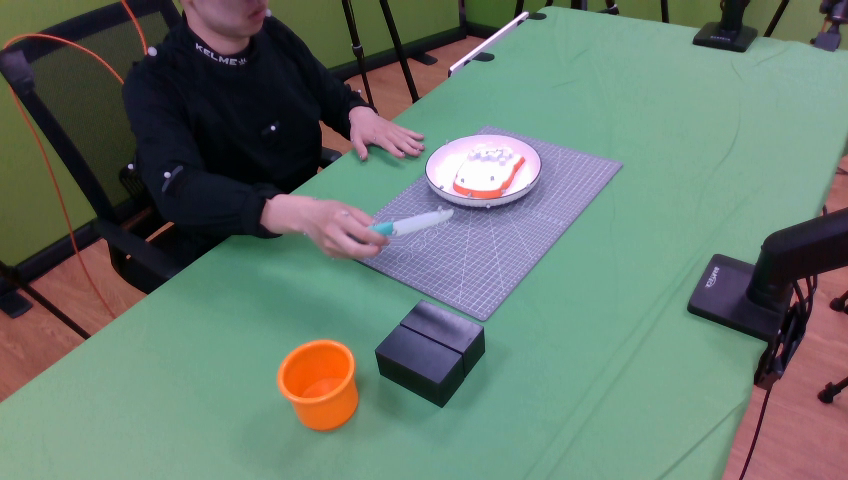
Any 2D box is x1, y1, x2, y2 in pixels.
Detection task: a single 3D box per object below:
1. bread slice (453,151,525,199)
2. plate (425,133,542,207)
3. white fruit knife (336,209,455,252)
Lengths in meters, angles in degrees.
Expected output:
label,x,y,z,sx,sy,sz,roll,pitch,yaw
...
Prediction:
label,x,y,z,sx,sy,sz,roll,pitch,yaw
bread slice,0.112,-0.118,1.079,0.104,0.019,0.131,11,42,21
plate,0.106,-0.121,1.079,0.209,0.038,0.208,-4,41,4
white fruit knife,-0.044,-0.015,0.820,0.206,0.027,0.016,-15,34,32
